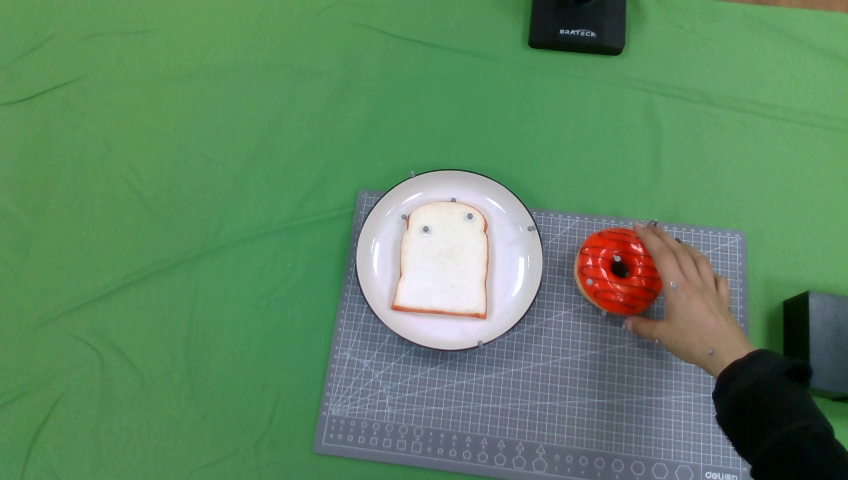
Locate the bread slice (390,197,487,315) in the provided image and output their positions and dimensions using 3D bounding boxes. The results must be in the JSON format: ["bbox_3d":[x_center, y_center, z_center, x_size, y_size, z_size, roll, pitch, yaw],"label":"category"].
[{"bbox_3d":[0.019,0.014,0.677,0.105,0.019,0.131,4,73,2],"label":"bread slice"}]

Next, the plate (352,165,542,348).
[{"bbox_3d":[0.026,0.019,0.674,0.209,0.038,0.208,0,73,1],"label":"plate"}]

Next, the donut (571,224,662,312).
[{"bbox_3d":[0.211,0.030,0.664,0.099,0.048,0.098,0,74,-1],"label":"donut"}]
